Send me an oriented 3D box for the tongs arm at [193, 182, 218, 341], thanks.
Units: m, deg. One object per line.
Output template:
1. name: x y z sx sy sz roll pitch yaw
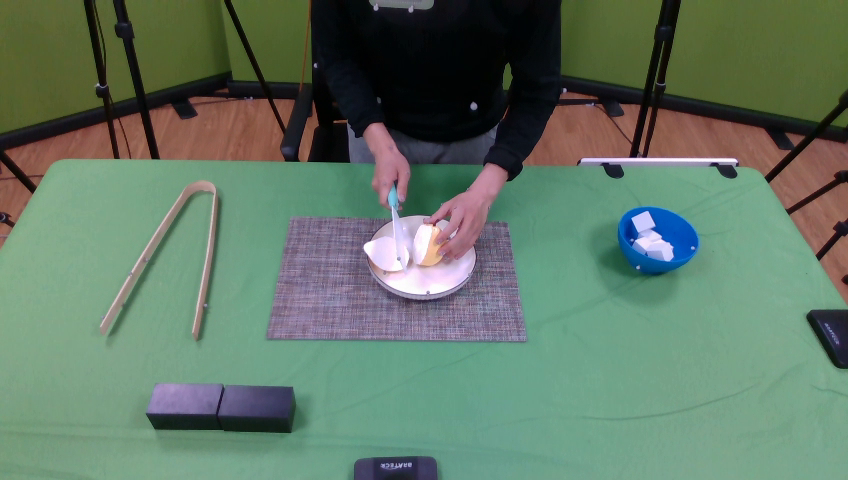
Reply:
1. tongs arm: -0.413 0.025 1.140 0.028 0.028 0.385 -5 47 -7

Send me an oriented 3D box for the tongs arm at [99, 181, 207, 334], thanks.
1. tongs arm: -0.494 0.018 1.132 0.051 0.026 0.382 7 45 0

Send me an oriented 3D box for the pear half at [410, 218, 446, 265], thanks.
1. pear half: 0.017 -0.002 1.120 0.056 0.110 0.076 -1 54 -26

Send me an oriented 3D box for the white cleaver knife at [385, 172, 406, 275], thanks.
1. white cleaver knife: -0.055 -0.039 1.146 0.021 0.066 0.284 -16 37 7

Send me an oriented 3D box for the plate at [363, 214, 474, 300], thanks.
1. plate: -0.010 0.036 1.146 0.208 0.039 0.206 2 46 -2

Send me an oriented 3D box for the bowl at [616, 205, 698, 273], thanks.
1. bowl: 0.443 0.010 1.182 0.151 0.077 0.150 2 46 -2

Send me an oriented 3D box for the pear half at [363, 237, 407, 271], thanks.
1. pear half: -0.076 0.031 1.138 0.088 0.031 0.070 18 47 -10
